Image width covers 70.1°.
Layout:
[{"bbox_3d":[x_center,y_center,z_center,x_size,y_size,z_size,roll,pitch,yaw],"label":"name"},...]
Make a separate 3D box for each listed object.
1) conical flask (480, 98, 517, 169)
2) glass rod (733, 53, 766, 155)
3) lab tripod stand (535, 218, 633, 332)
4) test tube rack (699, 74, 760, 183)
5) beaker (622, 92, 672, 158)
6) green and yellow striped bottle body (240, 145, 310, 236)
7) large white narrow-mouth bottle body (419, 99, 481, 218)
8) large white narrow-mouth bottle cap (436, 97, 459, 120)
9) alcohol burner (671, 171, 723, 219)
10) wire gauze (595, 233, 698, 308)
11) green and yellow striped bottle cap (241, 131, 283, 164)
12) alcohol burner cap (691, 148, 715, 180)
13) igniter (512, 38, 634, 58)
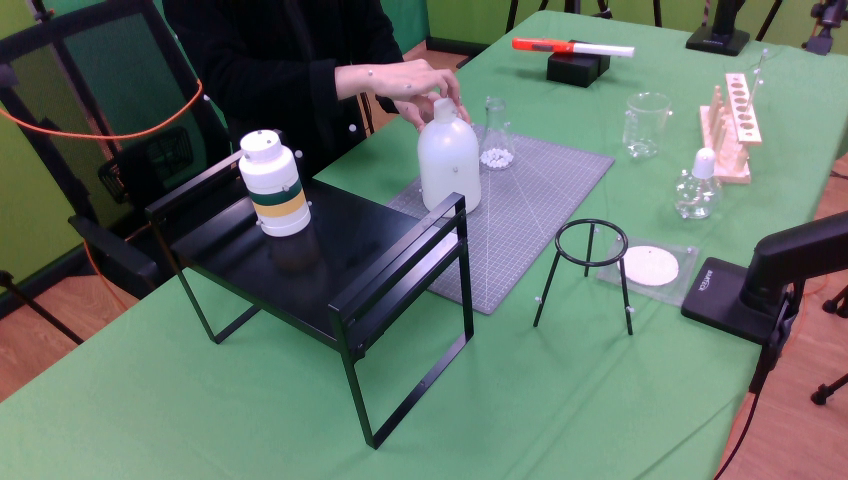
[{"bbox_3d":[0.133,-0.198,1.108,0.075,0.122,0.075,-4,41,4],"label":"conical flask"},{"bbox_3d":[0.540,-0.219,1.006,0.008,0.201,0.008,-5,45,6],"label":"glass rod"},{"bbox_3d":[0.215,0.050,0.803,0.148,0.132,0.147,-4,42,4],"label":"lab tripod stand"},{"bbox_3d":[0.547,-0.208,1.095,0.066,0.085,0.242,6,42,16],"label":"test tube rack"},{"bbox_3d":[0.402,-0.210,1.106,0.074,0.101,0.083,-8,40,-2],"label":"beaker"},{"bbox_3d":[-0.181,-0.068,0.729,0.063,0.120,0.063,-4,40,4],"label":"green and yellow striped bottle body"},{"bbox_3d":[0.042,-0.138,0.997,0.102,0.195,0.101,-3,39,3],"label":"large white narrow-mouth bottle body"},{"bbox_3d":[0.037,-0.205,0.943,0.038,0.024,0.037,-3,39,3],"label":"large white narrow-mouth bottle cap"},{"bbox_3d":[0.434,-0.093,0.955,0.078,0.119,0.077,-3,43,4],"label":"alcohol burner"},{"bbox_3d":[0.331,0.038,0.897,0.124,0.011,0.121,18,47,26],"label":"wire gauze"},{"bbox_3d":[-0.187,-0.107,0.695,0.045,0.020,0.045,-4,39,3],"label":"green and yellow striped bottle cap"},{"bbox_3d":[0.432,-0.120,0.930,0.034,0.048,0.033,-7,48,8],"label":"alcohol burner cap"},{"bbox_3d":[0.328,-0.433,1.360,0.275,0.025,0.057,12,33,20],"label":"igniter"}]
